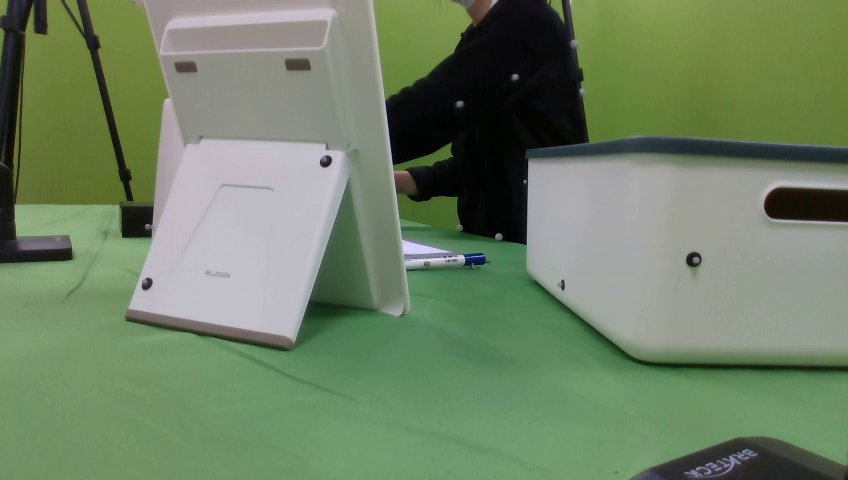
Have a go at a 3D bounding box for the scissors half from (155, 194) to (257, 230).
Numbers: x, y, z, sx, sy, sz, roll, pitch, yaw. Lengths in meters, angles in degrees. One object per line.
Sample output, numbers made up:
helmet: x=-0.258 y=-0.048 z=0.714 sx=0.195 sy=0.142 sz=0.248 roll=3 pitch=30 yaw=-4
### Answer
scissors half: x=-0.378 y=-0.051 z=1.058 sx=0.176 sy=0.040 sz=0.012 roll=20 pitch=22 yaw=-31

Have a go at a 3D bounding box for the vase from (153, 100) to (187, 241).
vase: x=-0.278 y=-0.066 z=0.736 sx=0.098 sy=0.200 sz=0.098 roll=2 pitch=9 yaw=0

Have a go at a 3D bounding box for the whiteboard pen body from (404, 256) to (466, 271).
whiteboard pen body: x=0.012 y=0.030 z=0.792 sx=0.141 sy=0.017 sz=0.017 roll=-2 pitch=9 yaw=-24

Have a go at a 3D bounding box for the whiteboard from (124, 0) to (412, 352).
whiteboard: x=-0.151 y=-0.049 z=0.471 sx=0.216 sy=0.305 sz=0.144 roll=6 pitch=27 yaw=24

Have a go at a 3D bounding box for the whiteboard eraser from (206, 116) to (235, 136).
whiteboard eraser: x=-0.450 y=-0.252 z=1.335 sx=0.056 sy=0.042 sz=0.112 roll=1 pitch=7 yaw=-22

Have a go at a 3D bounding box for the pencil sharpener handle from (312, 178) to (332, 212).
pencil sharpener handle: x=-0.205 y=-0.088 z=1.179 sx=0.036 sy=0.067 sz=0.030 roll=10 pitch=2 yaw=-33

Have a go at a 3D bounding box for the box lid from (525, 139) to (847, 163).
box lid: x=0.261 y=-0.078 z=0.580 sx=0.264 sy=0.015 sz=0.371 roll=2 pitch=7 yaw=-4

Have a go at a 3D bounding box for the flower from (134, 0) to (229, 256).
flower: x=-0.282 y=-0.147 z=0.713 sx=0.038 sy=0.362 sz=0.044 roll=-23 pitch=23 yaw=-31

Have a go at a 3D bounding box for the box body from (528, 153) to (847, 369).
box body: x=0.257 y=-0.005 z=0.591 sx=0.254 sy=0.160 sz=0.363 roll=2 pitch=7 yaw=-4

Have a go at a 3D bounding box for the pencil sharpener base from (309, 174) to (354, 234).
pencil sharpener base: x=-0.176 y=-0.069 z=1.139 sx=0.062 sy=0.107 sz=0.076 roll=-2 pitch=9 yaw=-32

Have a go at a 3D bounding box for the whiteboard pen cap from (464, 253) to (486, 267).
whiteboard pen cap: x=0.066 y=0.027 z=0.818 sx=0.033 sy=0.018 sz=0.018 roll=-6 pitch=10 yaw=-24

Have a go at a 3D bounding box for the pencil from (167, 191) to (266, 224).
pencil: x=-0.319 y=-0.054 z=0.950 sx=0.012 sy=0.012 sz=0.195 roll=7 pitch=20 yaw=30

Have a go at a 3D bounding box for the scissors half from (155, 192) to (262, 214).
scissors half: x=-0.371 y=-0.069 z=1.051 sx=0.176 sy=0.040 sz=0.013 roll=2 pitch=25 yaw=-24
